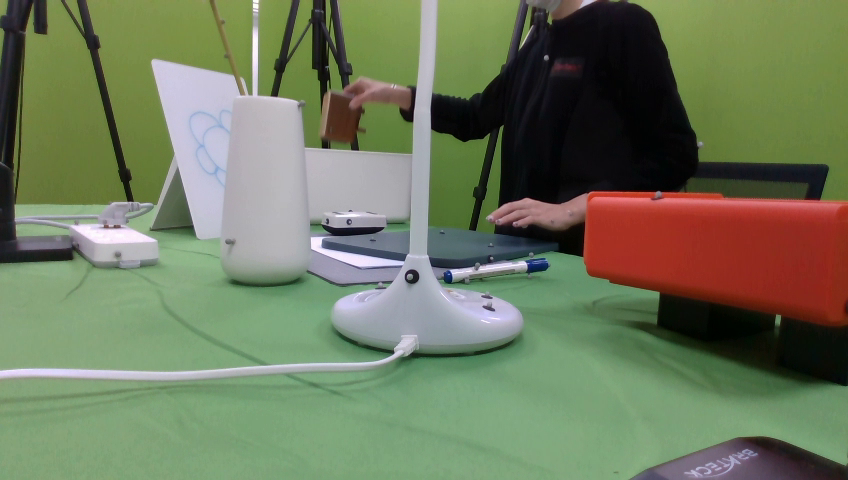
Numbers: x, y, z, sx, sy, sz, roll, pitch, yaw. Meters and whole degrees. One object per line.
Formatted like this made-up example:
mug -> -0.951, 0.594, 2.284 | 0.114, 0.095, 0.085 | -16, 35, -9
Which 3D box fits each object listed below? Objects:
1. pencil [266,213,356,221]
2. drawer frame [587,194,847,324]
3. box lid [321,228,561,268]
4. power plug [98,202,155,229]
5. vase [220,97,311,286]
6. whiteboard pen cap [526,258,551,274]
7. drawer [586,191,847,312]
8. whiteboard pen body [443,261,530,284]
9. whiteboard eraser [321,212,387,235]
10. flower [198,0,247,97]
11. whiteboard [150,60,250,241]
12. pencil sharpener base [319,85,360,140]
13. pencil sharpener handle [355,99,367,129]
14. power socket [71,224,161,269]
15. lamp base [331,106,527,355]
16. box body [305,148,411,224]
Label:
pencil -> -0.245, -0.049, 1.320 | 0.195, 0.012, 0.012 | 3, 7, -13
drawer frame -> 0.285, 0.004, 0.508 | 0.203, 0.082, 0.212 | -1, 6, -29
box lid -> 0.040, 0.008, 0.996 | 0.262, 0.015, 0.373 | 7, 8, 34
power plug -> -0.416, -0.027, 0.848 | 0.073, 0.052, 0.035 | 0, 8, -28
vase -> -0.172, -0.052, 0.662 | 0.098, 0.200, 0.098 | 3, 8, 0
whiteboard pen cap -> 0.141, 0.033, 0.759 | 0.033, 0.018, 0.018 | -7, 11, -26
drawer -> 0.281, 0.001, 0.513 | 0.195, 0.073, 0.210 | -1, 8, -29
whiteboard pen body -> 0.087, 0.037, 0.734 | 0.141, 0.017, 0.017 | -6, 10, -27
whiteboard eraser -> -0.128, -0.031, 1.108 | 0.113, 0.042, 0.055 | -3, 7, -38
flower -> -0.187, -0.133, 0.648 | 0.038, 0.362, 0.044 | 0, 22, 43
whiteboard -> -0.408, -0.139, 1.093 | 0.143, 0.305, 0.218 | -15, -1, 26
pencil sharpener base -> -0.191, -0.288, 1.381 | 0.077, 0.107, 0.061 | 9, -1, -24
pencil sharpener handle -> -0.144, -0.293, 1.405 | 0.031, 0.067, 0.036 | 9, 9, -24
power socket -> -0.408, 0.004, 0.793 | 0.072, 0.032, 0.225 | -2, 8, -38
lamp base -> 0.006, -0.012, 0.478 | 0.161, 0.180, 0.179 | 2, 10, 2
box body -> -0.230, -0.126, 1.371 | 0.366, 0.160, 0.253 | -2, 8, -33
